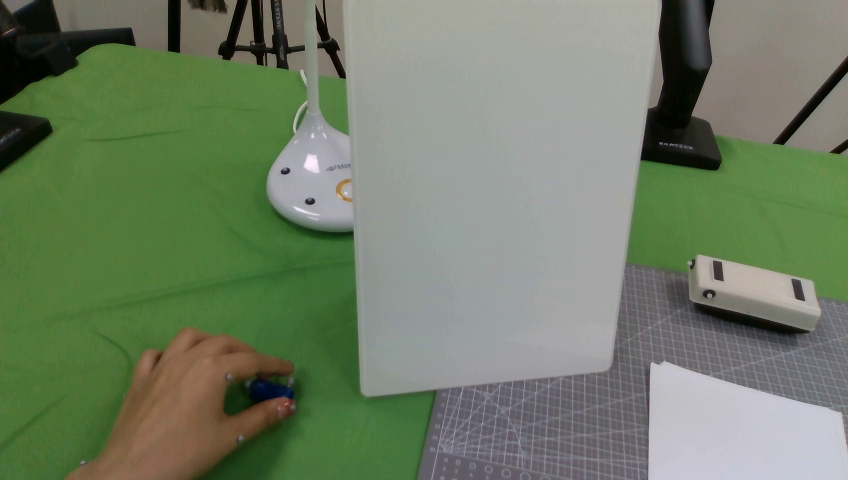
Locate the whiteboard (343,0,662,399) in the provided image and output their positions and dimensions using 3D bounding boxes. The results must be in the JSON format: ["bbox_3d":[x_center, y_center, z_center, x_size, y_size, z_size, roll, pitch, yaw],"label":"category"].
[{"bbox_3d":[0.046,-0.046,0.508,0.218,0.307,0.142,-4,22,-9],"label":"whiteboard"}]

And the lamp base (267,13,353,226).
[{"bbox_3d":[-0.099,-0.134,0.644,0.161,0.182,0.177,-24,46,-29],"label":"lamp base"}]

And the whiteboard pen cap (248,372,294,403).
[{"bbox_3d":[-0.121,0.116,0.478,0.033,0.018,0.018,15,42,12],"label":"whiteboard pen cap"}]

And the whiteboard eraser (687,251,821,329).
[{"bbox_3d":[0.313,0.049,0.582,0.112,0.042,0.055,14,43,10],"label":"whiteboard eraser"}]
